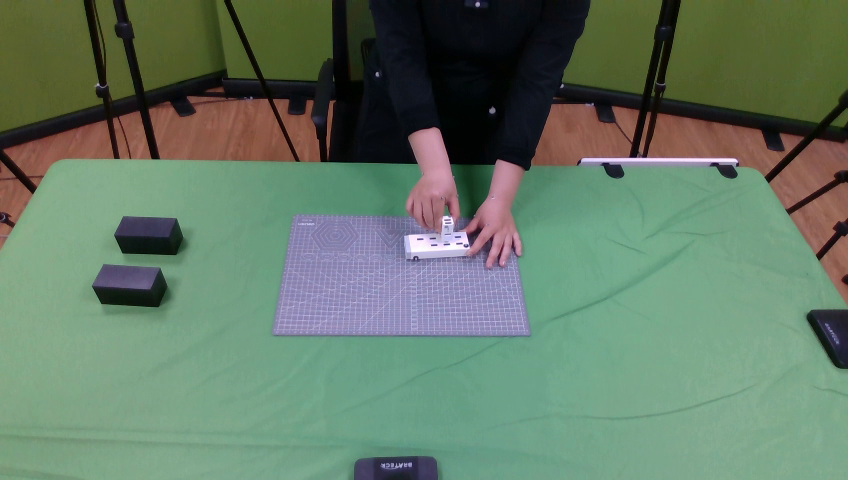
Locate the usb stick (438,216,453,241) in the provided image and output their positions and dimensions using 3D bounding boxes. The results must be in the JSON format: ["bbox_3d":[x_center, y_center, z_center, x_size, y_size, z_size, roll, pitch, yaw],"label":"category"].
[{"bbox_3d":[0.041,-0.016,1.162,0.021,0.059,0.027,-4,50,-12],"label":"usb stick"}]

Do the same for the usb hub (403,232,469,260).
[{"bbox_3d":[0.023,0.012,1.182,0.125,0.025,0.049,-3,47,-7],"label":"usb hub"}]
